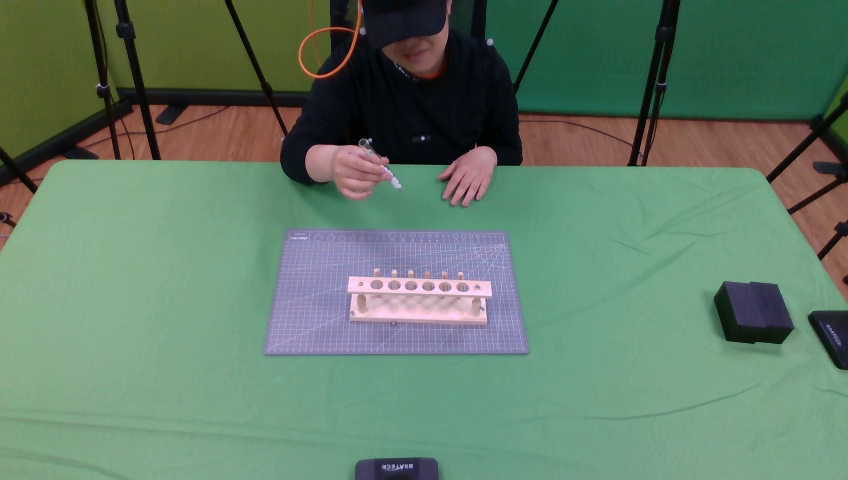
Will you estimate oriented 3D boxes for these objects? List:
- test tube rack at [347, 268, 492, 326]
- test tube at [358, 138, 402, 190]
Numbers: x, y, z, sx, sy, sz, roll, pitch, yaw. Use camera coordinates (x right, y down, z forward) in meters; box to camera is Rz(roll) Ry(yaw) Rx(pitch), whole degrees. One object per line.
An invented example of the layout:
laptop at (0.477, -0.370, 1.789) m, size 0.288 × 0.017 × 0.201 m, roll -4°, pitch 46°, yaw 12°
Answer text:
test tube rack at (-0.009, 0.095, 1.059) m, size 0.242 × 0.085 × 0.066 m, roll 2°, pitch 46°, yaw -2°
test tube at (-0.073, -0.127, 1.034) m, size 0.017 × 0.151 × 0.017 m, roll -10°, pitch 62°, yaw 19°
